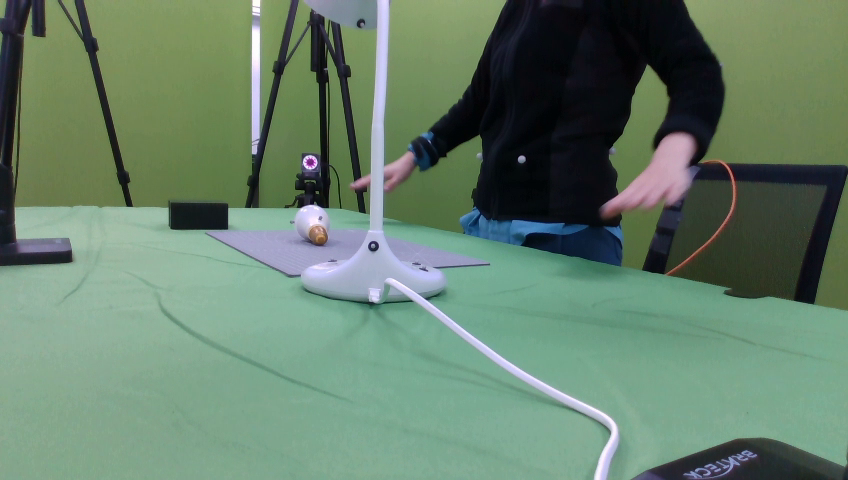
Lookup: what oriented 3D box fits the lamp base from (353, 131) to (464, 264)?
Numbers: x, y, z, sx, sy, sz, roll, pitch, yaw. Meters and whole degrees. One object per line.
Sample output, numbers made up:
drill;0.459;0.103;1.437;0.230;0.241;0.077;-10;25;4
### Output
lamp base;-0.015;-0.062;0.851;0.161;0.180;0.178;-1;10;-20
